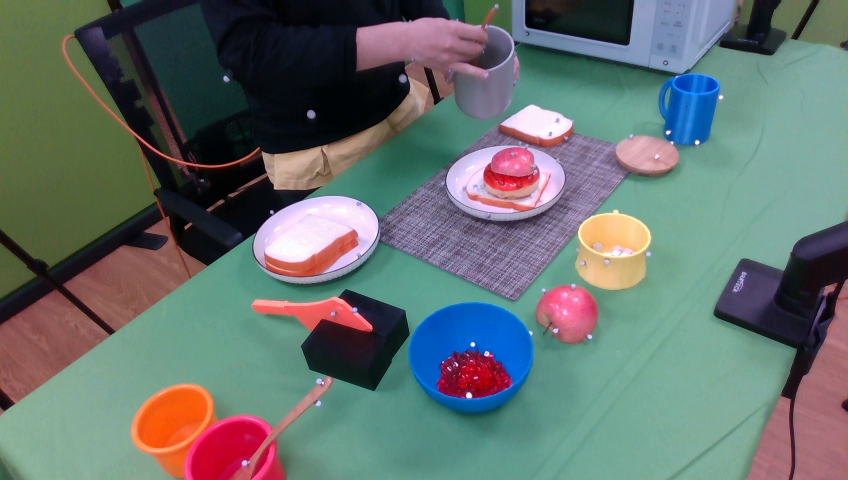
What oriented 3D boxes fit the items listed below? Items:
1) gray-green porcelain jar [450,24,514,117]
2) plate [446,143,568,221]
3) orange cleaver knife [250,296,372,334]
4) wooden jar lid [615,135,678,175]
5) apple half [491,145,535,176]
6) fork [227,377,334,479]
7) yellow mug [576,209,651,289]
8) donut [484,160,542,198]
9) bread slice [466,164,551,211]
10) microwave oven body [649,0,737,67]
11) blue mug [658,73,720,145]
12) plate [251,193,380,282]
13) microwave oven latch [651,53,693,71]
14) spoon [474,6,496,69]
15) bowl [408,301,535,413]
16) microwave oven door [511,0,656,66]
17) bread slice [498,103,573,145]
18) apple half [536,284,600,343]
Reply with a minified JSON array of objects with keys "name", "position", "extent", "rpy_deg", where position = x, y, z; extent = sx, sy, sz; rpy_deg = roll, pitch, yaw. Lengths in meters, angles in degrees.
[{"name":"gray-green porcelain jar","position":[0.101,-0.283,1.032],"extent":[0.106,0.127,0.105],"rpy_deg":[-3,61,5]},{"name":"plate","position":[0.142,-0.097,1.045],"extent":[0.207,0.039,0.206],"rpy_deg":[-4,40,4]},{"name":"orange cleaver knife","position":[-0.158,0.103,0.828],"extent":[0.210,0.078,0.012],"rpy_deg":[-4,43,39]},{"name":"wooden jar lid","position":[0.398,-0.151,1.086],"extent":[0.108,0.021,0.108],"rpy_deg":[-2,42,2]},{"name":"apple half","position":[0.147,-0.138,0.994],"extent":[0.081,0.033,0.081],"rpy_deg":[0,37,0]},{"name":"fork","position":[-0.163,0.216,0.647],"extent":[0.207,0.019,0.028],"rpy_deg":[-49,41,16]},{"name":"yellow mug","position":[0.279,0.004,0.893],"extent":[0.099,0.064,0.130],"rpy_deg":[6,42,14]},{"name":"donut","position":[0.149,-0.110,1.016],"extent":[0.099,0.048,0.098],"rpy_deg":[-4,40,4]},{"name":"bread slice","position":[0.141,-0.092,1.043],"extent":[0.134,0.018,0.107],"rpy_deg":[11,43,18]},{"name":"microwave oven body","position":[0.475,-0.602,1.411],"extent":[0.438,0.261,0.327],"rpy_deg":[23,50,32]},{"name":"blue mug","position":[0.483,-0.250,1.127],"extent":[0.082,0.106,0.115],"rpy_deg":[-25,44,-19]},{"name":"plate","position":[-0.174,-0.001,0.984],"extent":[0.209,0.038,0.208],"rpy_deg":[-4,41,4]},{"name":"microwave oven latch","position":[0.532,-0.386,1.301],"extent":[0.078,0.029,0.030],"rpy_deg":[27,52,34]},{"name":"spoon","position":[0.093,-0.309,0.989],"extent":[0.042,0.194,0.021],"rpy_deg":[-31,69,-17]},{"name":"bowl","position":[0.059,0.156,0.739],"extent":[0.151,0.077,0.150],"rpy_deg":[-4,40,4]},{"name":"microwave oven door","position":[0.351,-0.540,1.349],"extent":[0.353,0.245,0.039],"rpy_deg":[24,50,31]},{"name":"bread slice","position":[0.231,-0.232,1.205],"extent":[0.105,0.019,0.130],"rpy_deg":[-36,48,-29]},{"name":"apple half","position":[0.196,0.091,0.815],"extent":[0.075,0.053,0.080],"rpy_deg":[-22,42,-20]}]
